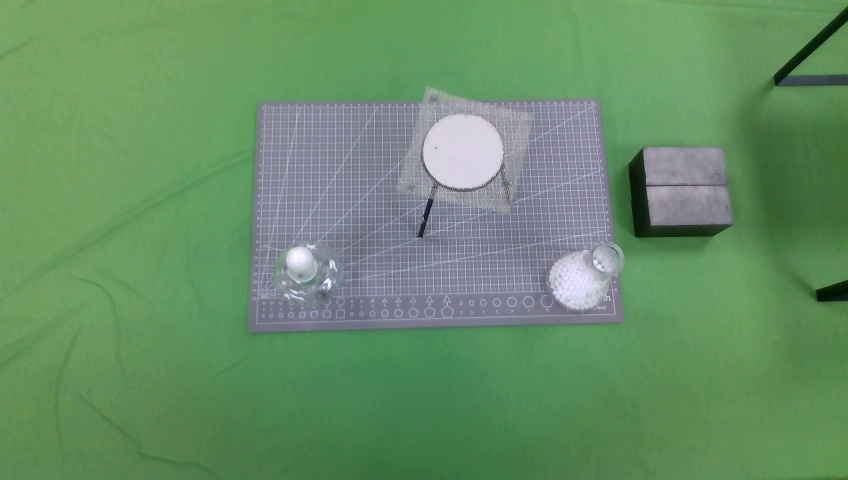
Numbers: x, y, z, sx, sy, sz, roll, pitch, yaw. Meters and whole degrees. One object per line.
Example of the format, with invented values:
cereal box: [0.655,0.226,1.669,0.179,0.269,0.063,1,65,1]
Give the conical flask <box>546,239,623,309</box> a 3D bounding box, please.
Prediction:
conical flask: [0.187,0.033,0.686,0.075,0.122,0.075,1,75,-2]

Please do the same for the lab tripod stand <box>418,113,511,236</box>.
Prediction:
lab tripod stand: [0.036,-0.081,0.704,0.148,0.132,0.147,0,75,0]

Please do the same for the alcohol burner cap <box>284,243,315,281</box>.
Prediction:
alcohol burner cap: [-0.134,0.021,0.643,0.034,0.048,0.033,2,71,-5]

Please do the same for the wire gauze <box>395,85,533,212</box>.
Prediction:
wire gauze: [0.044,-0.097,0.639,0.121,0.011,0.124,15,75,2]

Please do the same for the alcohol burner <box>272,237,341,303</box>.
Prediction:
alcohol burner: [-0.134,0.030,0.677,0.078,0.119,0.077,0,76,-2]
